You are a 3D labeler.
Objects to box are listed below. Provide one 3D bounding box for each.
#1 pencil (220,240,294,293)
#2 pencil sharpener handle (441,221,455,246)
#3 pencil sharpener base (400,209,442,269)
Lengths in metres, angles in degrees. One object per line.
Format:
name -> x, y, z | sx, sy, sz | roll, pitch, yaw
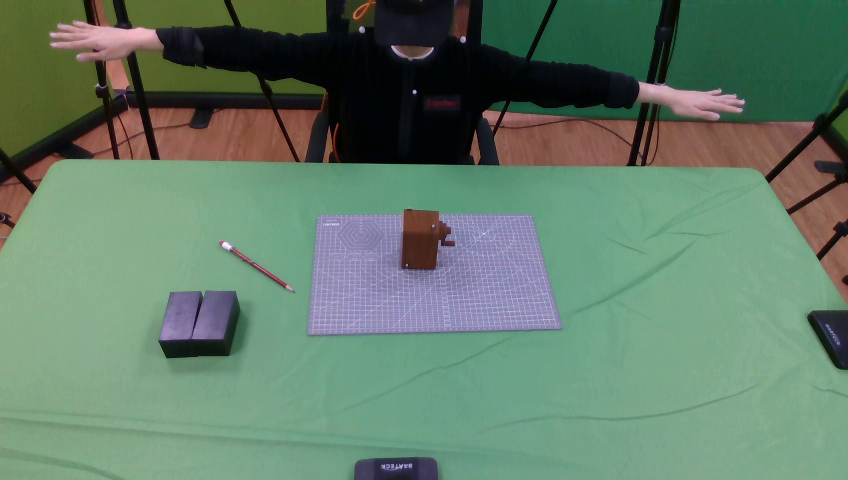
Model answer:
pencil -> -0.314, 0.050, 1.137 | 0.193, 0.012, 0.012 | 31, 52, 22
pencil sharpener handle -> 0.046, -0.009, 1.129 | 0.030, 0.068, 0.036 | 2, 56, -2
pencil sharpener base -> -0.006, 0.000, 1.134 | 0.077, 0.107, 0.061 | 2, 46, -2
